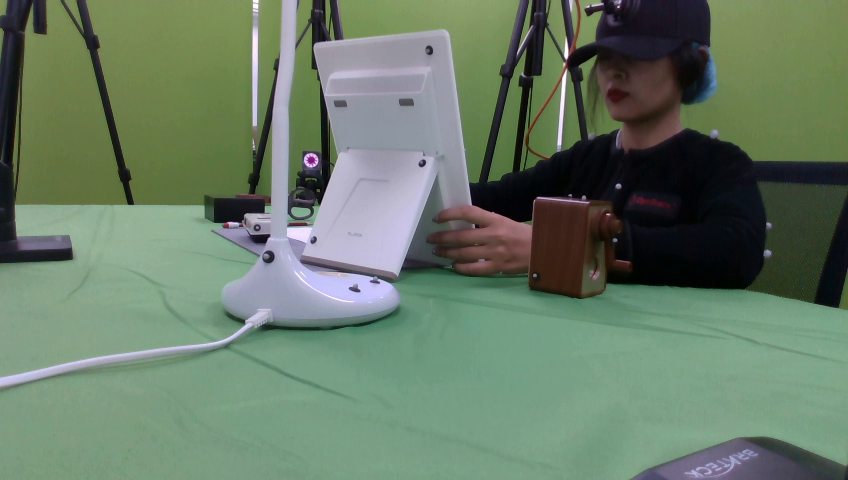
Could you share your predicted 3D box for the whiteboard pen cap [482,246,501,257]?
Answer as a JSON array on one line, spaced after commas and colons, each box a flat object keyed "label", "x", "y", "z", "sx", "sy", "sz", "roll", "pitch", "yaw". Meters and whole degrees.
[{"label": "whiteboard pen cap", "x": 0.104, "y": 0.017, "z": 0.936, "sx": 0.018, "sy": 0.018, "sz": 0.033, "roll": -1, "pitch": 3, "yaw": -22}]

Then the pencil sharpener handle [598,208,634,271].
[{"label": "pencil sharpener handle", "x": 0.208, "y": 0.000, "z": 0.644, "sx": 0.030, "sy": 0.068, "sz": 0.036, "roll": 10, "pitch": 23, "yaw": 42}]

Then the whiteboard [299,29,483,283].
[{"label": "whiteboard", "x": -0.074, "y": -0.082, "z": 0.742, "sx": 0.216, "sy": 0.305, "sz": 0.144, "roll": 9, "pitch": 29, "yaw": 37}]

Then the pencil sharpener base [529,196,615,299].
[{"label": "pencil sharpener base", "x": 0.168, "y": 0.007, "z": 0.678, "sx": 0.076, "sy": 0.107, "sz": 0.062, "roll": 10, "pitch": 10, "yaw": 42}]

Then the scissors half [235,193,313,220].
[{"label": "scissors half", "x": -0.324, "y": -0.077, "z": 1.319, "sx": 0.176, "sy": 0.040, "sz": 0.012, "roll": 17, "pitch": 6, "yaw": -31}]

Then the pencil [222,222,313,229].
[{"label": "pencil", "x": -0.302, "y": -0.030, "z": 1.188, "sx": 0.195, "sy": 0.012, "sz": 0.012, "roll": -2, "pitch": 9, "yaw": -42}]

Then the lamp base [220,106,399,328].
[{"label": "lamp base", "x": -0.101, "y": -0.023, "z": 0.531, "sx": 0.160, "sy": 0.180, "sz": 0.179, "roll": 4, "pitch": 10, "yaw": 10}]

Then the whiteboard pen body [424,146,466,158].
[{"label": "whiteboard pen body", "x": 0.029, "y": -0.119, "z": 0.823, "sx": 0.017, "sy": 0.017, "sz": 0.141, "roll": 6, "pitch": 10, "yaw": 22}]

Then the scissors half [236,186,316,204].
[{"label": "scissors half", "x": -0.320, "y": -0.097, "z": 1.316, "sx": 0.176, "sy": 0.040, "sz": 0.013, "roll": -3, "pitch": 11, "yaw": -29}]

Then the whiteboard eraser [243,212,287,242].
[{"label": "whiteboard eraser", "x": -0.260, "y": -0.021, "z": 0.982, "sx": 0.056, "sy": 0.042, "sz": 0.112, "roll": 0, "pitch": 8, "yaw": -23}]
